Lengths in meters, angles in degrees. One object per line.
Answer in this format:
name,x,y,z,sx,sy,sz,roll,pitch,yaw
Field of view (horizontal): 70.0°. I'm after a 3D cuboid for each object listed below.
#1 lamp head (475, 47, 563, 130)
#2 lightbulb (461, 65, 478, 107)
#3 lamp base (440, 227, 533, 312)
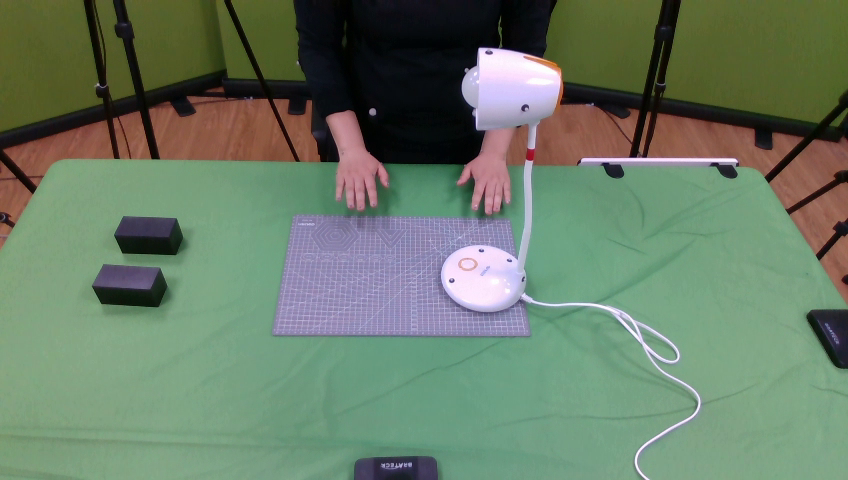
lamp head,0.129,-0.206,0.840,0.123,0.113,0.112,5,45,-1
lightbulb,0.106,-0.214,0.850,0.108,0.060,0.059,4,45,-2
lamp base,0.126,0.021,1.072,0.179,0.181,0.160,22,49,13
